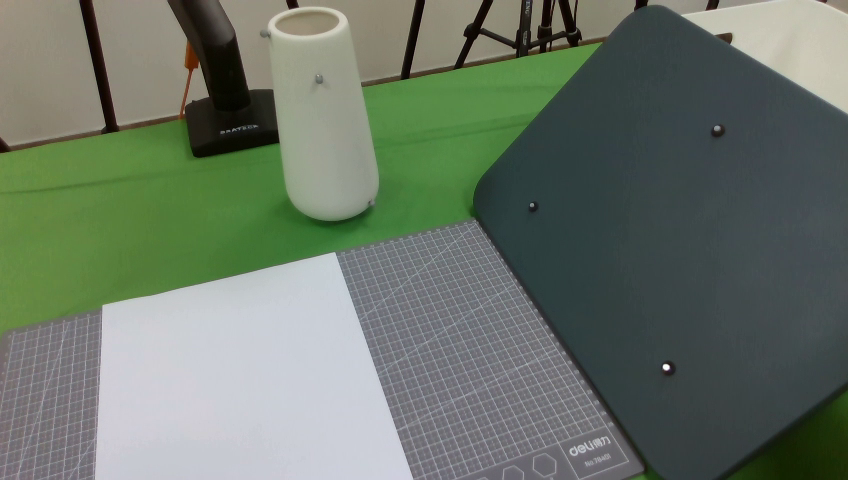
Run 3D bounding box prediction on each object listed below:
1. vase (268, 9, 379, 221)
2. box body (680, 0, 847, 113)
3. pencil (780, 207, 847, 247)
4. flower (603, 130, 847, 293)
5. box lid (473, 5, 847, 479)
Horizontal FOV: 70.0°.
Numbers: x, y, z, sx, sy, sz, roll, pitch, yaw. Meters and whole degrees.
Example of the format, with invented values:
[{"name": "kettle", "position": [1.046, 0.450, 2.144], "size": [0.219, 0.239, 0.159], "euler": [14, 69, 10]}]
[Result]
[{"name": "vase", "position": [-0.099, -0.116, 0.594], "size": [0.098, 0.202, 0.097], "euler": [-1, 42, 2]}, {"name": "box body", "position": [0.361, -0.070, 0.565], "size": [0.255, 0.162, 0.359], "euler": [-14, 44, -13]}, {"name": "pencil", "position": [0.382, 0.005, 0.537], "size": [0.012, 0.012, 0.192], "euler": [-6, 22, -5]}, {"name": "flower", "position": [0.328, -0.012, 0.604], "size": [0.358, 0.038, 0.044], "euler": [42, 21, 30]}, {"name": "box lid", "position": [0.194, -0.023, 0.491], "size": [0.015, 0.263, 0.367], "euler": [26, 24, -40]}]
